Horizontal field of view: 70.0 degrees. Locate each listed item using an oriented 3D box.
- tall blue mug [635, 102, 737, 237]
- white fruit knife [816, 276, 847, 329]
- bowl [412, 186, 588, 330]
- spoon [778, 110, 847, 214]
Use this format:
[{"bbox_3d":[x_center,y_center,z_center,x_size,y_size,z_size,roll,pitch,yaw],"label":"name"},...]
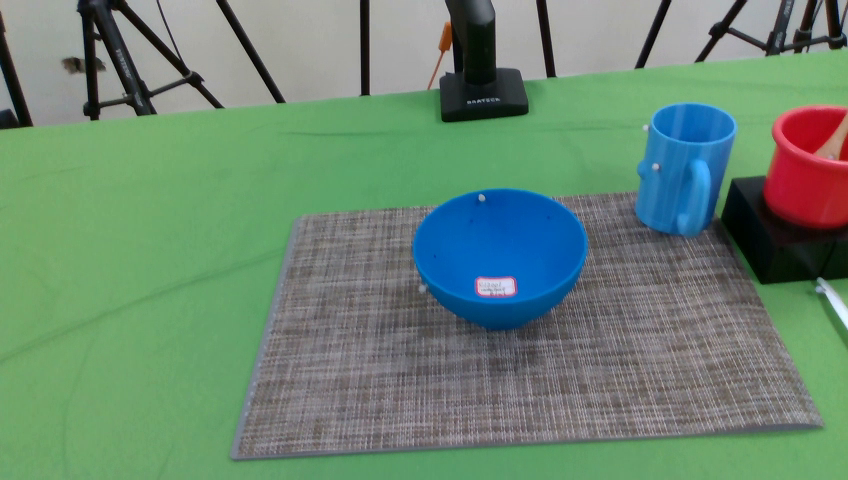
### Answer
[{"bbox_3d":[0.262,-0.062,0.592,0.078,0.109,0.106,-18,42,-12],"label":"tall blue mug"},{"bbox_3d":[0.359,0.101,0.474,0.027,0.016,0.205,17,38,-14],"label":"white fruit knife"},{"bbox_3d":[0.068,0.028,0.545,0.151,0.077,0.150,-4,42,4],"label":"bowl"},{"bbox_3d":[0.375,-0.108,0.531,0.041,0.022,0.194,35,101,39],"label":"spoon"}]
